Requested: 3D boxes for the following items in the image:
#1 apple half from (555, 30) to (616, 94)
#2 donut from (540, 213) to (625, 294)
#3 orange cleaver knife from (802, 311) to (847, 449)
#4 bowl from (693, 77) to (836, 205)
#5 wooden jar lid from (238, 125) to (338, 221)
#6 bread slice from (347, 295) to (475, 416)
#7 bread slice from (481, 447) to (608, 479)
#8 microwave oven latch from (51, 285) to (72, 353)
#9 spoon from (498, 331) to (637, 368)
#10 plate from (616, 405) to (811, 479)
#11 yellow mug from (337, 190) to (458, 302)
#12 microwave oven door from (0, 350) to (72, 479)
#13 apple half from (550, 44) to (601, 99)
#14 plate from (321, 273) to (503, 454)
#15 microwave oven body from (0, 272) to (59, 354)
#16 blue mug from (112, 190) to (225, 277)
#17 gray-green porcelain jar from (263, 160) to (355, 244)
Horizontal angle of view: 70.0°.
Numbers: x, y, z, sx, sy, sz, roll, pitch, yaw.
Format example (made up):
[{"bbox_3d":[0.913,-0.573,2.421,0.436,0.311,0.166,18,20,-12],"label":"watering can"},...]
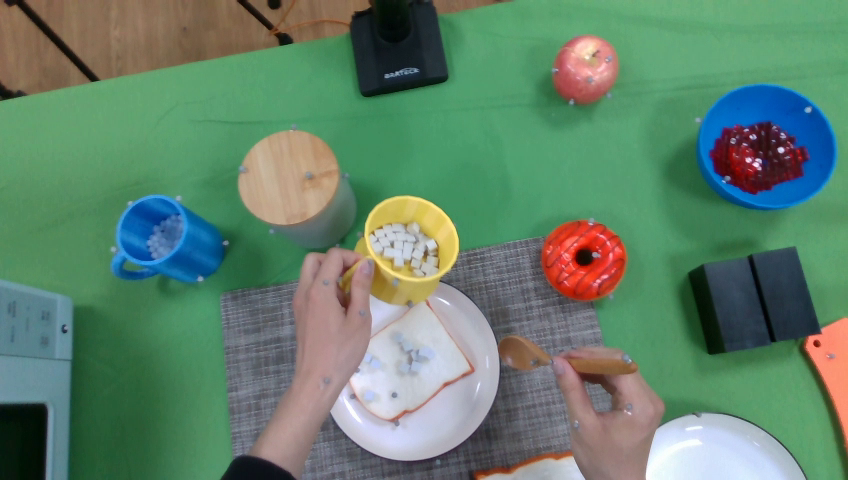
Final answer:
[{"bbox_3d":[0.207,-0.225,0.756,0.053,0.075,0.080,-41,73,-11],"label":"apple half"},{"bbox_3d":[0.186,0.016,0.714,0.099,0.048,0.098,-1,78,4],"label":"donut"},{"bbox_3d":[0.483,0.186,0.671,0.077,0.012,0.210,-8,75,-4],"label":"orange cleaver knife"},{"bbox_3d":[0.385,-0.105,0.713,0.151,0.077,0.150,-1,77,4],"label":"bowl"},{"bbox_3d":[-0.145,-0.070,0.655,0.108,0.021,0.108,-1,75,5],"label":"wooden jar lid"},{"bbox_3d":[-0.022,0.141,0.705,0.131,0.019,0.104,-35,76,-5],"label":"bread slice"},{"bbox_3d":[0.138,0.281,0.637,0.135,0.018,0.106,-13,72,-19],"label":"bread slice"},{"bbox_3d":[-0.444,0.095,0.729,0.030,0.029,0.079,-5,77,2],"label":"microwave oven latch"},{"bbox_3d":[0.120,0.103,0.542,0.021,0.193,0.042,-33,98,-20],"label":"spoon"},{"bbox_3d":[0.308,0.284,0.651,0.209,0.038,0.208,-1,77,4],"label":"plate"},{"bbox_3d":[-0.033,0.013,0.627,0.131,0.064,0.099,-29,75,-29],"label":"yellow mug"},{"bbox_3d":[-0.431,0.284,0.580,0.039,0.245,0.354,-7,76,3],"label":"microwave oven door"},{"bbox_3d":[0.179,-0.198,0.750,0.033,0.082,0.081,-42,77,-11],"label":"apple half"},{"bbox_3d":[-0.013,0.138,0.704,0.207,0.039,0.206,-1,77,4],"label":"plate"},{"bbox_3d":[-0.580,0.261,0.601,0.326,0.261,0.439,-7,77,2],"label":"microwave oven body"},{"bbox_3d":[-0.312,0.005,0.724,0.116,0.106,0.082,-35,77,-4],"label":"blue mug"},{"bbox_3d":[-0.140,-0.055,0.715,0.106,0.127,0.105,-1,77,4],"label":"gray-green porcelain jar"}]
